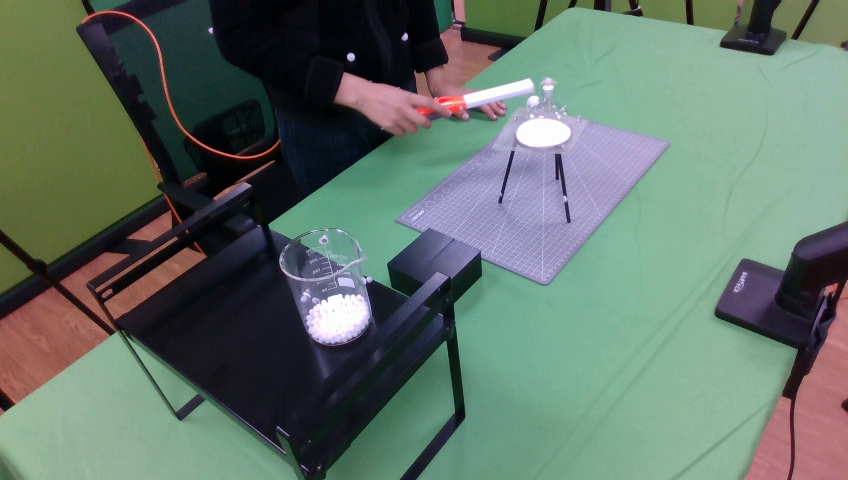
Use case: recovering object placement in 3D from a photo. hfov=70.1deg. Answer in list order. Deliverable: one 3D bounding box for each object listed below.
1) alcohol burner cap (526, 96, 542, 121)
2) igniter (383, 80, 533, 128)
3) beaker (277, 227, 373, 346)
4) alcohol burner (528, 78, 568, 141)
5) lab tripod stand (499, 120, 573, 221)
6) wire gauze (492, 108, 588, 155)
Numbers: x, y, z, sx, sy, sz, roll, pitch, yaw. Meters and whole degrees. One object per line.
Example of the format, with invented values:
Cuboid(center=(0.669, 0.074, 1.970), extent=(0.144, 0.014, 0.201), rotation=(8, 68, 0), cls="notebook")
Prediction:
Cuboid(center=(0.225, -0.272, 1.243), extent=(0.034, 0.048, 0.033), rotation=(-5, 40, 5), cls="alcohol burner cap")
Cuboid(center=(0.061, -0.249, 1.106), extent=(0.277, 0.025, 0.057), rotation=(-14, 42, -2), cls="igniter")
Cuboid(center=(-0.089, 0.048, 0.593), extent=(0.084, 0.101, 0.073), rotation=(-3, 41, 5), cls="beaker")
Cuboid(center=(0.238, -0.253, 1.163), extent=(0.078, 0.119, 0.077), rotation=(-6, 40, 6), cls="alcohol burner")
Cuboid(center=(0.198, -0.117, 0.992), extent=(0.148, 0.132, 0.147), rotation=(-3, 40, 3), cls="lab tripod stand")
Cuboid(center=(0.185, -0.170, 0.953), extent=(0.121, 0.011, 0.125), rotation=(13, 44, 22), cls="wire gauze")
